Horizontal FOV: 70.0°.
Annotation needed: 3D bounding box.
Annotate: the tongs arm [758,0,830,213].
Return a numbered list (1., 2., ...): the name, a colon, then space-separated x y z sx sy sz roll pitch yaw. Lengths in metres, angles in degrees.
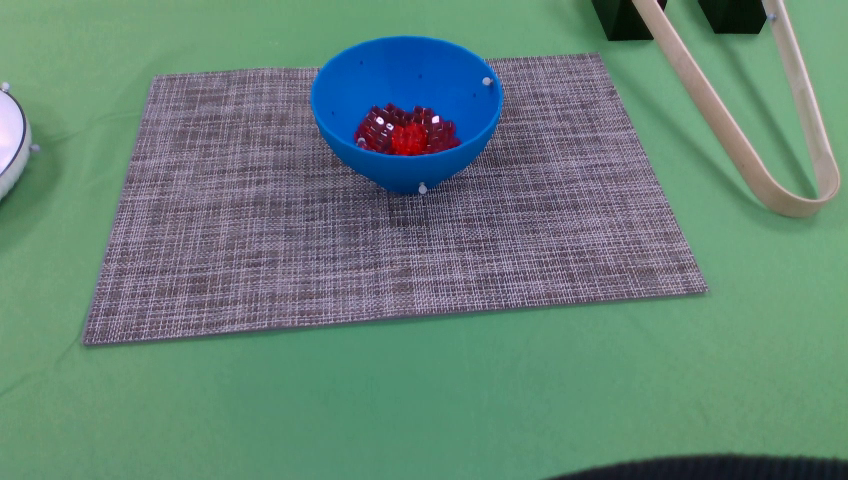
1. tongs arm: 0.323 -0.199 0.581 0.051 0.027 0.381 1 64 -4

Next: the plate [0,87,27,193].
1. plate: -0.431 -0.057 0.488 0.209 0.038 0.207 1 53 -1

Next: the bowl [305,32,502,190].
1. bowl: -0.017 -0.095 0.498 0.151 0.077 0.150 1 52 -1

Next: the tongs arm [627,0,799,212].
1. tongs arm: 0.234 -0.191 0.573 0.028 0.028 0.384 -12 65 -14
